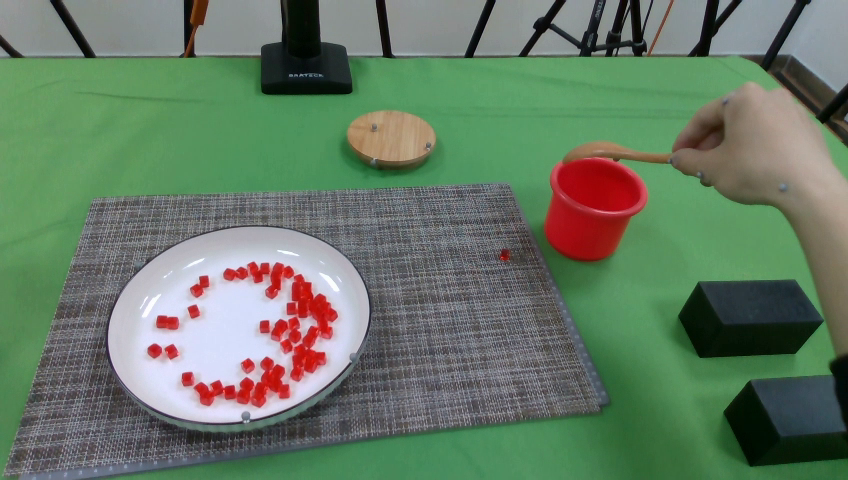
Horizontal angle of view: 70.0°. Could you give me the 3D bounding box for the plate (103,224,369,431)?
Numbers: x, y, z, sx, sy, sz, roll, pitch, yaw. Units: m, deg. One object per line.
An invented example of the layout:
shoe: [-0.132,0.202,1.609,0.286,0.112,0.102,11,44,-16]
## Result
plate: [-0.151,0.070,0.510,0.208,0.039,0.205,4,44,-4]

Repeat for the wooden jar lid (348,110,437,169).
wooden jar lid: [-0.038,-0.122,0.742,0.108,0.021,0.107,5,45,-4]

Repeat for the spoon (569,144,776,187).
spoon: [0.203,-0.070,0.528,0.022,0.041,0.192,4,-2,-42]
